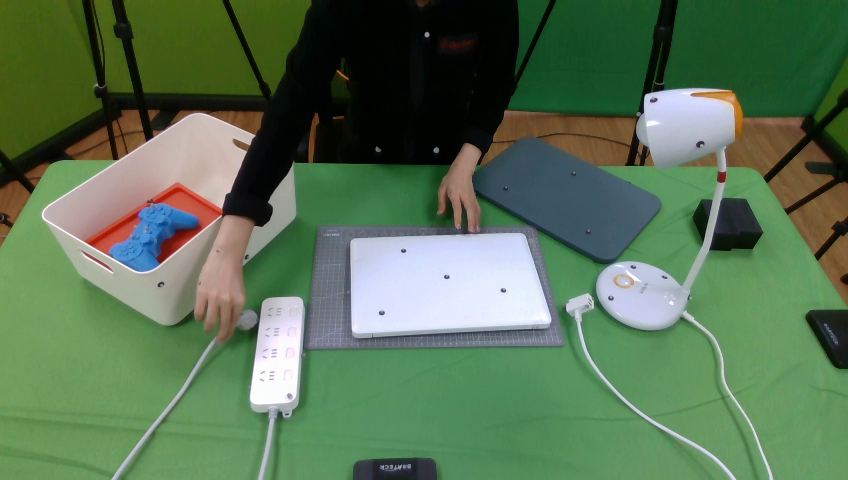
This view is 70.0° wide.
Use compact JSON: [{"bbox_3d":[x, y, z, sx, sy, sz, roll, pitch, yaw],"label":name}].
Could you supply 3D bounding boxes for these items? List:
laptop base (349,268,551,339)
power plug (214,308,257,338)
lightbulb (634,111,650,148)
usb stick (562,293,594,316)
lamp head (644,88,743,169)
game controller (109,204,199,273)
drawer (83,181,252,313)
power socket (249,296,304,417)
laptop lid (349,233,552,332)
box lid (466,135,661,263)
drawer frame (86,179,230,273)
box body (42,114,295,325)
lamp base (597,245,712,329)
[{"bbox_3d":[0.039,0.080,1.125,0.355,0.023,0.234,-2,43,-6],"label":"laptop base"},{"bbox_3d":[-0.317,0.141,1.025,0.072,0.053,0.035,-29,58,-6],"label":"power plug"},{"bbox_3d":[0.348,-0.163,0.852,0.059,0.060,0.107,-36,19,-32],"label":"lightbulb"},{"bbox_3d":[0.275,0.118,1.087,0.021,0.059,0.027,39,44,-28],"label":"usb stick"},{"bbox_3d":[0.380,-0.161,0.851,0.122,0.113,0.112,-4,42,25],"label":"lamp head"},{"bbox_3d":[-0.467,-0.005,1.044,0.097,0.052,0.154,8,45,11],"label":"game controller"},{"bbox_3d":[-0.458,0.007,1.100,0.194,0.073,0.211,30,50,20],"label":"drawer"},{"bbox_3d":[-0.239,0.182,0.996,0.072,0.033,0.225,-2,47,-5],"label":"power socket"},{"bbox_3d":[0.040,0.070,1.119,0.357,0.013,0.240,-1,44,-5],"label":"laptop lid"},{"bbox_3d":[0.306,-0.102,1.327,0.370,0.015,0.263,32,52,25],"label":"box lid"},{"bbox_3d":[-0.453,0.010,1.100,0.201,0.083,0.213,28,55,22],"label":"drawer frame"},{"bbox_3d":[-0.437,-0.046,1.110,0.253,0.161,0.363,24,49,19],"label":"box body"},{"bbox_3d":[0.418,0.051,1.071,0.179,0.181,0.160,22,49,13],"label":"lamp base"}]
